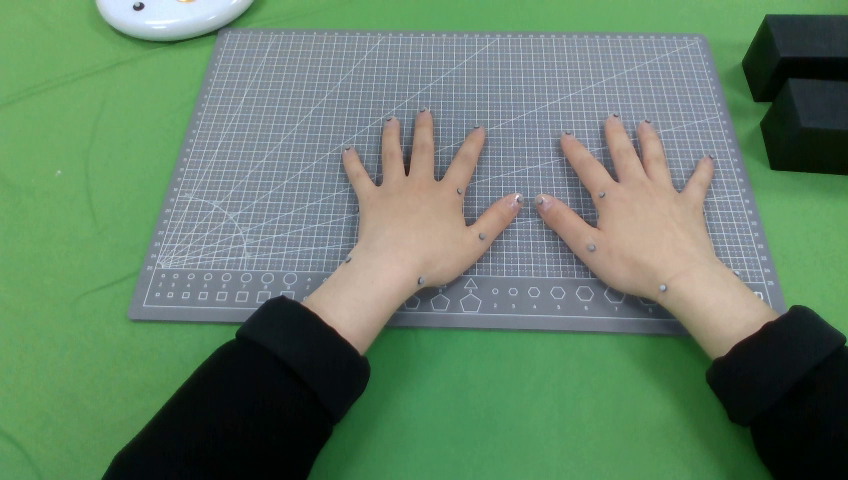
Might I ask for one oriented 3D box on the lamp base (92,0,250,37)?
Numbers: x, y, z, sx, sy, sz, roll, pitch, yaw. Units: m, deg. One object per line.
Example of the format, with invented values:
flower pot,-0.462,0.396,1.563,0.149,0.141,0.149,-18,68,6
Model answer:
lamp base,-0.251,-0.303,0.532,0.160,0.182,0.177,-36,62,-19
